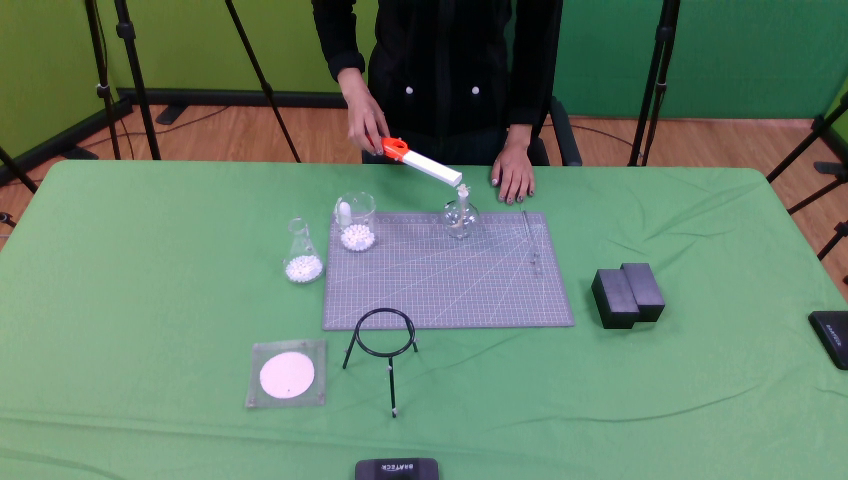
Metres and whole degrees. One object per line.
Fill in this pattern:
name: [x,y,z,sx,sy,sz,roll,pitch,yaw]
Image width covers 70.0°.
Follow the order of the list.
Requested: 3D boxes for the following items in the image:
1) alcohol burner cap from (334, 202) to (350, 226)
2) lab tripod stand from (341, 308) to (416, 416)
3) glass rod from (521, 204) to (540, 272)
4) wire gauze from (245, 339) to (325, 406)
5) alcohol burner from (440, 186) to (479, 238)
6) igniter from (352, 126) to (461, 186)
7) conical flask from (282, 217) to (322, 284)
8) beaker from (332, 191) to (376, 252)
alcohol burner cap: [-0.166,-0.055,1.222,0.034,0.048,0.033,2,46,-2]
lab tripod stand: [-0.061,0.177,0.946,0.148,0.132,0.147,2,44,-2]
glass rod: [0.215,-0.008,1.230,0.008,0.008,0.198,0,43,-3]
wire gauze: [-0.224,0.214,0.984,0.125,0.011,0.120,-2,46,-5]
alcohol burner: [0.072,-0.062,1.198,0.078,0.119,0.077,3,47,-3]
igniter: [-0.044,-0.174,1.227,0.275,0.025,0.057,28,54,27]
conical flask: [-0.225,0.016,1.097,0.075,0.122,0.075,2,46,-2]
beaker: [-0.133,-0.032,1.163,0.084,0.101,0.073,-19,50,-20]
